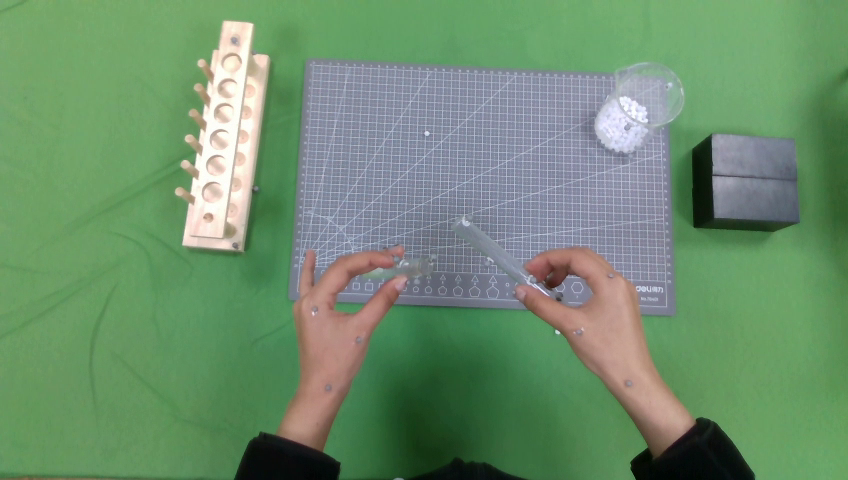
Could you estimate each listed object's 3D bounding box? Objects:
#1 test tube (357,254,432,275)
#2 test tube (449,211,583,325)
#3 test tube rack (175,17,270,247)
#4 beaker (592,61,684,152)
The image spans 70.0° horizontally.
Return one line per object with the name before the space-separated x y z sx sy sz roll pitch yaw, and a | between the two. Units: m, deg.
test tube | -0.031 0.023 0.544 0.017 0.149 0.017 2 86 -25
test tube | 0.082 0.026 0.528 0.151 0.017 0.017 39 80 -10
test tube rack | -0.231 -0.120 0.684 0.067 0.085 0.241 5 80 -1
beaker | 0.239 -0.151 0.700 0.084 0.100 0.074 39 80 7
